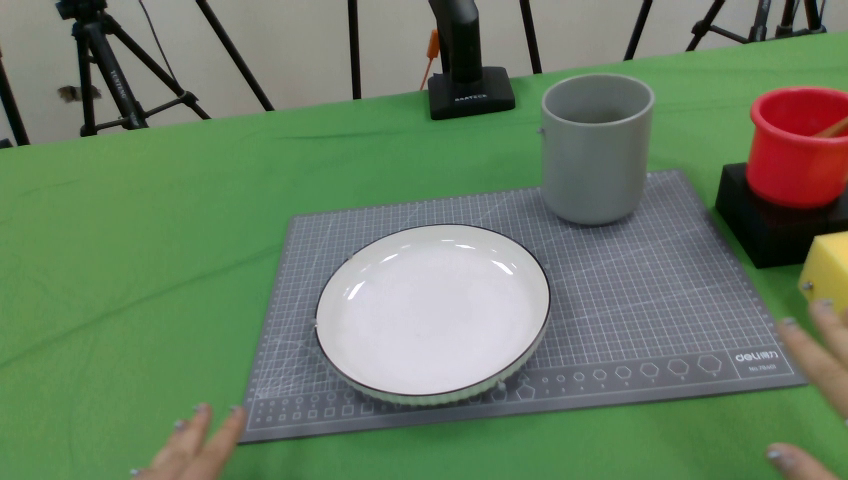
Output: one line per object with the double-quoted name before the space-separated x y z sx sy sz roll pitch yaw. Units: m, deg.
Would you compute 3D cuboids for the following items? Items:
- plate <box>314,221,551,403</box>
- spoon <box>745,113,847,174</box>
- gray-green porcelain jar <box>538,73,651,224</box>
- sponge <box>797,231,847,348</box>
"plate" 0.008 0.061 0.541 0.207 0.039 0.205 -6 40 5
"spoon" 0.365 -0.104 0.505 0.194 0.022 0.041 -36 18 46
"gray-green porcelain jar" 0.170 -0.088 0.615 0.106 0.128 0.105 -6 40 6
"sponge" 0.390 0.072 0.435 0.118 0.061 0.204 -10 39 0
